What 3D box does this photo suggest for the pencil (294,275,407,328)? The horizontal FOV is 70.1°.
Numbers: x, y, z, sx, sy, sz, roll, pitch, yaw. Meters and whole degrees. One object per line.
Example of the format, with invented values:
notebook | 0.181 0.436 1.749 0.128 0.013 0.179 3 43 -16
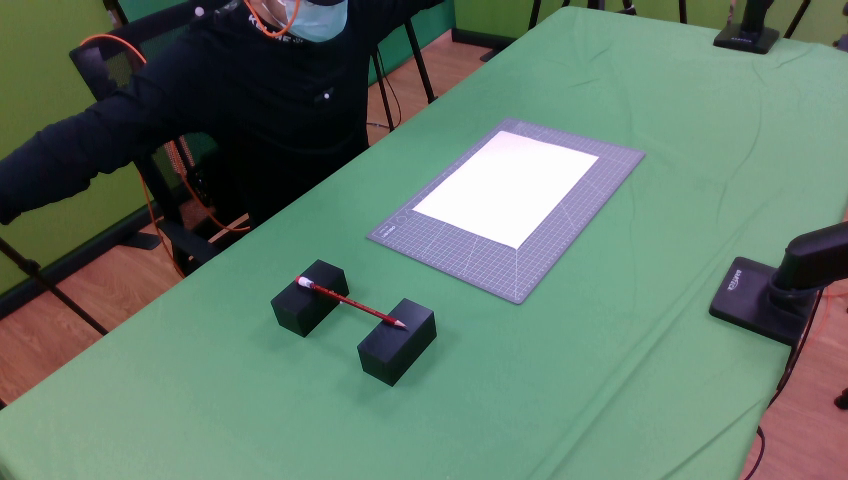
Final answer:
pencil | -0.103 0.083 0.820 0.192 0.012 0.012 20 47 27
